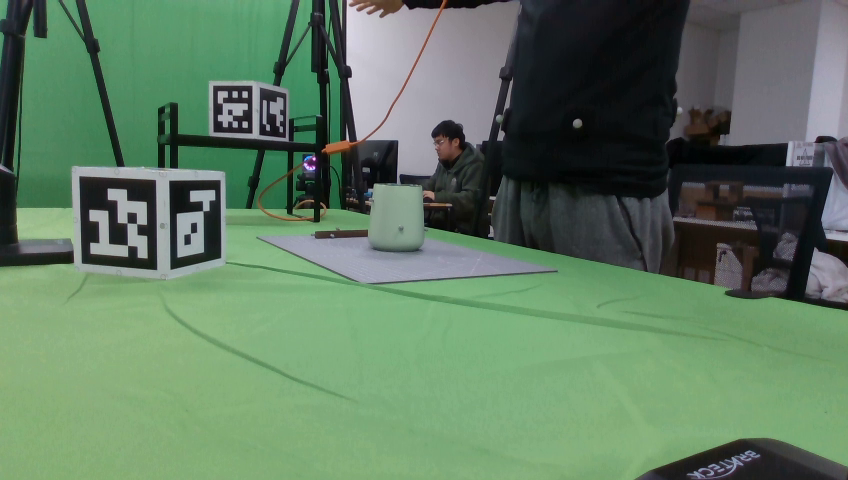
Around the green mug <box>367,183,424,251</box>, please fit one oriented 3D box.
[{"bbox_3d":[-0.053,-0.040,0.989,0.093,0.105,0.124,-2,8,-29],"label":"green mug"}]

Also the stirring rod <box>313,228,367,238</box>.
[{"bbox_3d":[-0.123,-0.014,1.114,0.177,0.014,0.006,-3,3,-35],"label":"stirring rod"}]
